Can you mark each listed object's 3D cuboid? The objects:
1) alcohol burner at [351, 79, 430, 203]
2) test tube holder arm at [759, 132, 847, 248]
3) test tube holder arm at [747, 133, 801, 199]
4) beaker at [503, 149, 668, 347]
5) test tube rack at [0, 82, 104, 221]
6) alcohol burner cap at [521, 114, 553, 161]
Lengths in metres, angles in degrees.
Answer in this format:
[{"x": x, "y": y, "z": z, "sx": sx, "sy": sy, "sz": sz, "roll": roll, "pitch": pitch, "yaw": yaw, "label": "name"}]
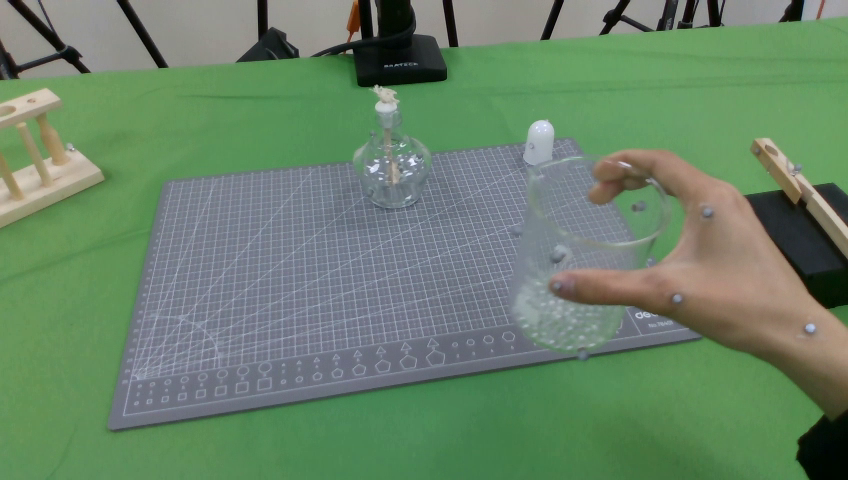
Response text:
[{"x": -0.034, "y": -0.096, "z": 0.580, "sx": 0.078, "sy": 0.120, "sz": 0.077, "roll": -1, "pitch": 41, "yaw": 2, "label": "alcohol burner"}, {"x": 0.332, "y": -0.040, "z": 0.520, "sx": 0.013, "sy": 0.015, "sz": 0.176, "roll": -10, "pitch": 43, "yaw": 1, "label": "test tube holder arm"}, {"x": 0.322, "y": -0.069, "z": 0.553, "sx": 0.010, "sy": 0.015, "sz": 0.087, "roll": -10, "pitch": 43, "yaw": 1, "label": "test tube holder arm"}, {"x": 0.084, "y": 0.007, "z": 0.352, "sx": 0.083, "sy": 0.101, "sz": 0.074, "roll": 34, "pitch": 53, "yaw": 27, "label": "beaker"}, {"x": -0.444, "y": -0.056, "z": 0.563, "sx": 0.066, "sy": 0.086, "sz": 0.242, "roll": 32, "pitch": 52, "yaw": 30, "label": "test tube rack"}, {"x": 0.122, "y": -0.113, "z": 0.650, "sx": 0.034, "sy": 0.048, "sz": 0.033, "roll": 0, "pitch": 42, "yaw": 0, "label": "alcohol burner cap"}]
